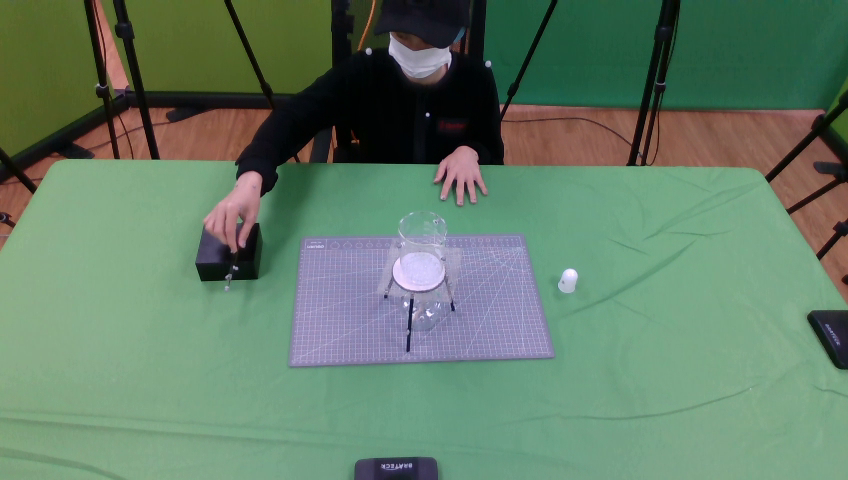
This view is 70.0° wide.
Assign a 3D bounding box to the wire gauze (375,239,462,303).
[{"bbox_3d":[-0.006,0.049,0.978,0.121,0.011,0.124,10,44,5],"label":"wire gauze"}]

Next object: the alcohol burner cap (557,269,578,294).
[{"bbox_3d":[0.270,0.075,1.135,0.034,0.048,0.033,3,46,-2],"label":"alcohol burner cap"}]

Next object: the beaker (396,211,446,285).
[{"bbox_3d":[-0.002,0.016,0.941,0.083,0.101,0.074,36,54,29],"label":"beaker"}]

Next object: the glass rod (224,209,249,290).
[{"bbox_3d":[-0.340,0.013,1.101,0.008,0.008,0.198,2,45,-3],"label":"glass rod"}]

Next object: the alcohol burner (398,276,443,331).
[{"bbox_3d":[-0.005,0.101,1.033,0.078,0.119,0.077,3,48,-3],"label":"alcohol burner"}]

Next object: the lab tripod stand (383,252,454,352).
[{"bbox_3d":[-0.016,0.094,1.025,0.148,0.132,0.147,1,46,-1],"label":"lab tripod stand"}]
